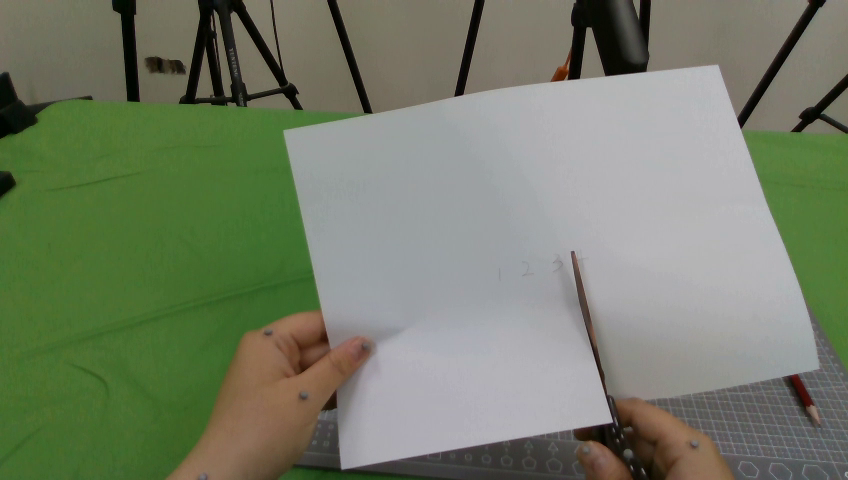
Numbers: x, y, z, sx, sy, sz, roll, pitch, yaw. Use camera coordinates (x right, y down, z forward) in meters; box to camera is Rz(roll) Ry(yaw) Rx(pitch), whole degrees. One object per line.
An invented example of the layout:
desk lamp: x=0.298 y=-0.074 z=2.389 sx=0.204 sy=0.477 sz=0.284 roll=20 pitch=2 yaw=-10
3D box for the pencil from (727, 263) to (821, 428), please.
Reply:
pencil: x=0.309 y=0.085 z=0.542 sx=0.012 sy=0.012 sz=0.192 roll=1 pitch=38 yaw=1

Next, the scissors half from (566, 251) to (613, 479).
scissors half: x=0.104 y=0.092 z=0.368 sx=0.013 sy=0.175 sz=0.040 roll=-12 pitch=5 yaw=-3

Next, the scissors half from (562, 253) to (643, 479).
scissors half: x=0.103 y=0.088 z=0.346 sx=0.013 sy=0.040 sz=0.174 roll=-13 pitch=69 yaw=2
